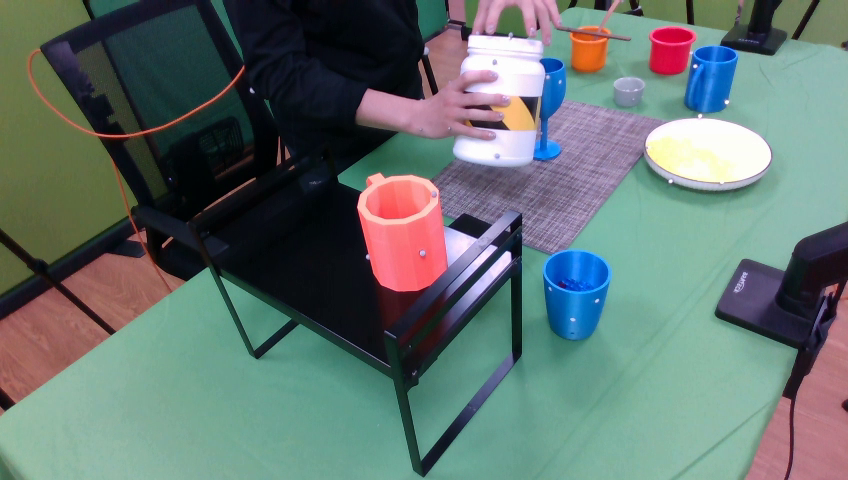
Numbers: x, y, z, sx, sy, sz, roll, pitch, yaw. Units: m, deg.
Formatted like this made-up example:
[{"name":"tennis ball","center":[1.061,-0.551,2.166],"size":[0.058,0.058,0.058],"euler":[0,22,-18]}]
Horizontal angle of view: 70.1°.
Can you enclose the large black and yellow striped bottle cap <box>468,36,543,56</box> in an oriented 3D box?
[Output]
[{"name":"large black and yellow striped bottle cap","center":[0.125,-0.297,0.924],"size":[0.115,0.019,0.114],"euler":[6,17,-1]}]

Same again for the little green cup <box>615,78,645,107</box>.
[{"name":"little green cup","center":[0.426,-0.306,1.257],"size":[0.061,0.039,0.061],"euler":[-4,40,4]}]

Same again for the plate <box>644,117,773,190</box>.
[{"name":"plate","center":[0.495,-0.148,1.063],"size":[0.209,0.038,0.208],"euler":[-5,40,4]}]

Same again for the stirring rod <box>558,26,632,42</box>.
[{"name":"stirring rod","center":[0.381,-0.463,1.356],"size":[0.175,0.006,0.014],"euler":[22,48,30]}]

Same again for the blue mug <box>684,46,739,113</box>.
[{"name":"blue mug","center":[0.556,-0.310,1.190],"size":[0.117,0.106,0.081],"euler":[-32,46,-25]}]

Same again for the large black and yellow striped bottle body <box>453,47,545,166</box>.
[{"name":"large black and yellow striped bottle body","center":[0.118,-0.217,0.949],"size":[0.131,0.184,0.130],"euler":[5,17,-1]}]

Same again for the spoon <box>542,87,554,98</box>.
[{"name":"spoon","center":[0.227,-0.285,1.269],"size":[0.041,0.022,0.194],"euler":[2,36,45]}]

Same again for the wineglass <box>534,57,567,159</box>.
[{"name":"wineglass","center":[0.221,-0.237,1.097],"size":[0.074,0.173,0.073],"euler":[-5,41,4]}]

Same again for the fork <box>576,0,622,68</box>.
[{"name":"fork","center":[0.409,-0.484,1.381],"size":[0.028,0.019,0.207],"euler":[37,101,46]}]

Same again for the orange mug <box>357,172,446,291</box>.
[{"name":"orange mug","center":[-0.030,-0.019,0.668],"size":[0.084,0.101,0.125],"euler":[-23,47,-16]}]

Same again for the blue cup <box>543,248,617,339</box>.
[{"name":"blue cup","center":[0.199,0.076,0.797],"size":[0.092,0.100,0.092],"euler":[-4,39,4]}]
